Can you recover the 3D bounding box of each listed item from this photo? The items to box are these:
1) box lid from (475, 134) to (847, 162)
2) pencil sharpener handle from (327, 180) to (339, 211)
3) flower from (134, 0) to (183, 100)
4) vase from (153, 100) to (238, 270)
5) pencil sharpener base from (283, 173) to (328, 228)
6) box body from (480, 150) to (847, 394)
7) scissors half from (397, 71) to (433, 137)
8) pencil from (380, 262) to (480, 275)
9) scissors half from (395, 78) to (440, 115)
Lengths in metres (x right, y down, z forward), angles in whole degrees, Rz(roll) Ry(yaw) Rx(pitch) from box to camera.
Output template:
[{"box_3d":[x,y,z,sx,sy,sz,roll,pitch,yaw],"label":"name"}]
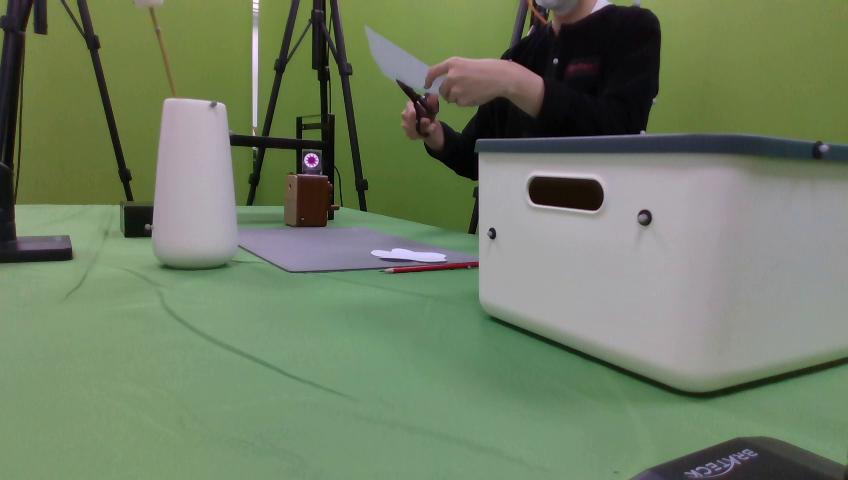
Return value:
[{"box_3d":[0.256,-0.073,0.528,0.373,0.015,0.262,-2,8,-31],"label":"box lid"},{"box_3d":[-0.194,-0.094,1.256,0.031,0.067,0.036,-2,-5,-36],"label":"pencil sharpener handle"},{"box_3d":[-0.282,-0.147,0.713,0.038,0.362,0.044,-23,24,-31],"label":"flower"},{"box_3d":[-0.278,-0.066,0.736,0.098,0.200,0.098,2,9,0],"label":"vase"},{"box_3d":[-0.239,-0.081,1.231,0.077,0.107,0.061,-2,8,-36],"label":"pencil sharpener base"},{"box_3d":[0.254,0.002,0.539,0.366,0.160,0.253,-2,9,-31],"label":"box body"},{"box_3d":[-0.018,-0.243,1.091,0.012,0.040,0.176,16,-23,27],"label":"scissors half"},{"box_3d":[0.030,0.036,0.795,0.195,0.012,0.012,-3,9,-30],"label":"pencil"},{"box_3d":[-0.010,-0.264,1.095,0.013,0.040,0.176,10,2,26],"label":"scissors half"}]
